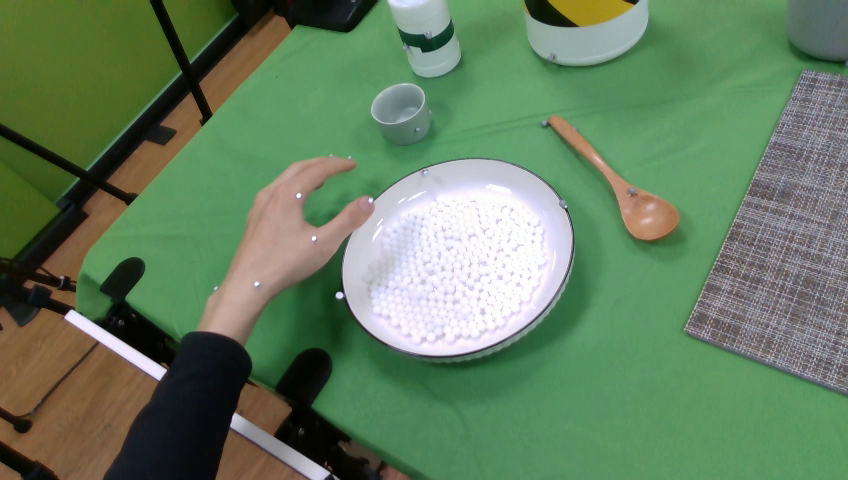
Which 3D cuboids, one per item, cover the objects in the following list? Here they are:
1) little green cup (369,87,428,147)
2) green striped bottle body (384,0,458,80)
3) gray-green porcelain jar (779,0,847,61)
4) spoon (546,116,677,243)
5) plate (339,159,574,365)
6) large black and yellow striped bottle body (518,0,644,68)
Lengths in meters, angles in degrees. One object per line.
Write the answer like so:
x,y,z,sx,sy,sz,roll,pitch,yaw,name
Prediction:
-0.025,-0.133,0.661,0.061,0.039,0.061,-9,53,12,little green cup
-0.004,-0.246,0.682,0.063,0.120,0.062,-9,53,13,green striped bottle body
0.382,-0.234,0.538,0.105,0.128,0.105,-9,54,13,gray-green porcelain jar
0.164,-0.065,0.558,0.041,0.022,0.191,-41,51,13,spoon
0.028,0.018,0.537,0.209,0.038,0.207,-9,53,13,plate
0.155,-0.285,0.614,0.130,0.186,0.129,-9,54,13,large black and yellow striped bottle body
